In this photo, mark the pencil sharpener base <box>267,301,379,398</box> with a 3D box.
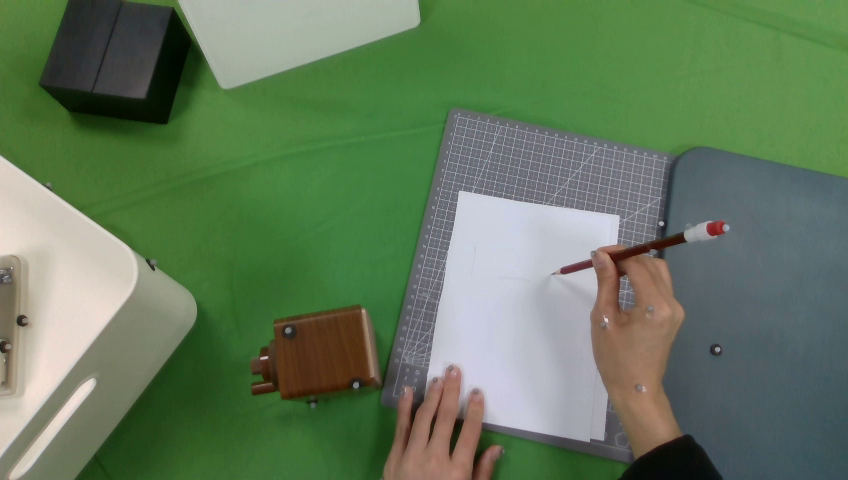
[{"bbox_3d":[-0.080,0.093,0.495,0.077,0.107,0.061,-9,75,-4],"label":"pencil sharpener base"}]

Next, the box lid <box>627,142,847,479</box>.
[{"bbox_3d":[0.336,0.095,0.559,0.263,0.015,0.369,12,75,0],"label":"box lid"}]

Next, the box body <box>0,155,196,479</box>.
[{"bbox_3d":[-0.401,0.039,0.470,0.363,0.161,0.253,33,77,7],"label":"box body"}]

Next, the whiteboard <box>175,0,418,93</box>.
[{"bbox_3d":[-0.145,-0.323,0.534,0.217,0.308,0.142,-20,57,-7],"label":"whiteboard"}]

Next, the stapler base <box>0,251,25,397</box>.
[{"bbox_3d":[-0.376,0.072,0.528,0.041,0.024,0.130,-8,77,-2],"label":"stapler base"}]

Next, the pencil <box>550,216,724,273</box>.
[{"bbox_3d":[0.156,0.009,0.483,0.012,0.194,0.012,6,75,-22],"label":"pencil"}]

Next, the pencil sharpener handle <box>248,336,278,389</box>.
[{"bbox_3d":[-0.130,0.102,0.478,0.031,0.068,0.035,-9,59,-4],"label":"pencil sharpener handle"}]
